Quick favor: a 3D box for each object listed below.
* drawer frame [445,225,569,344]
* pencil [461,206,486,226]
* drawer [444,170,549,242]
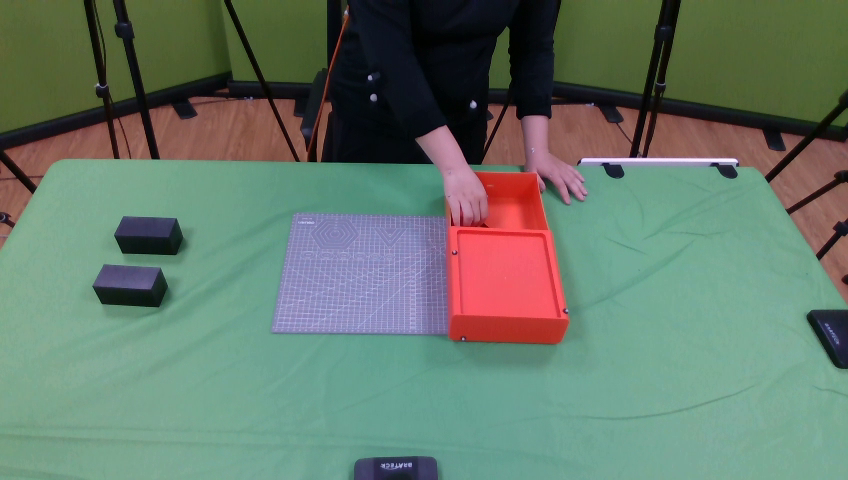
[{"bbox_3d":[0.141,0.076,1.089,0.202,0.083,0.212,2,47,-3],"label":"drawer frame"},{"bbox_3d":[0.134,-0.017,1.222,0.012,0.012,0.193,-25,50,-26],"label":"pencil"},{"bbox_3d":[0.141,-0.050,1.216,0.194,0.073,0.210,2,43,-3],"label":"drawer"}]
